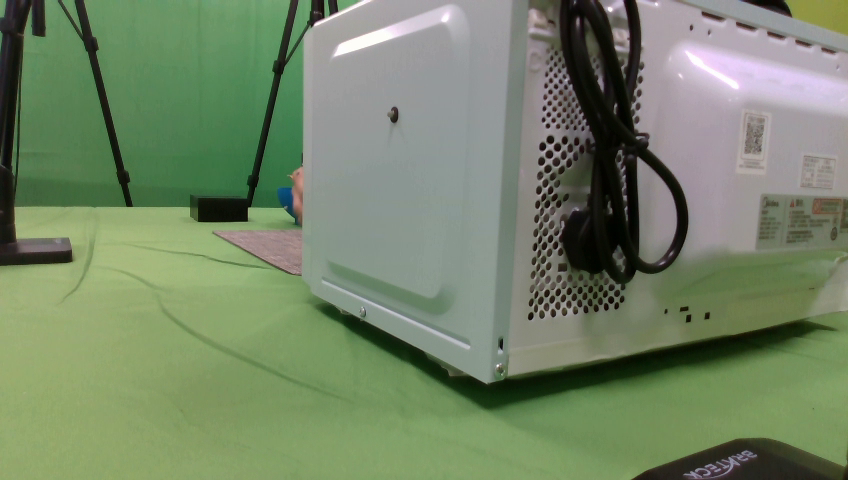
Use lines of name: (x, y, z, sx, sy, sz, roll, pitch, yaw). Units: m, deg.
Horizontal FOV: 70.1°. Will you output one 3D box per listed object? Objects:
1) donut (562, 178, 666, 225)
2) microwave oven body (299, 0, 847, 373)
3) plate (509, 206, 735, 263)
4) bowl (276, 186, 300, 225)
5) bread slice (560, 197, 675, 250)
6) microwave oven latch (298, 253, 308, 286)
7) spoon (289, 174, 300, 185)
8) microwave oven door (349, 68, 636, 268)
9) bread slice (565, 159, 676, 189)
donut: (0.184, -0.037, 0.588, 0.099, 0.048, 0.099, 0, 4, 0)
microwave oven body: (0.152, -0.055, 0.542, 0.444, 0.260, 0.324, -2, 7, -33)
plate: (0.186, -0.007, 0.589, 0.208, 0.039, 0.207, 2, 7, 0)
bowl: (-0.241, -0.073, 1.302, 0.151, 0.077, 0.151, 2, 7, 0)
bread slice: (0.187, -0.016, 0.579, 0.107, 0.018, 0.134, -9, 11, 13)
microwave oven latch: (-0.081, 0.027, 0.582, 0.079, 0.029, 0.030, -1, 7, -32)
spoon: (-0.261, -0.111, 1.343, 0.042, 0.021, 0.192, -9, 34, -30)
microwave oven door: (0.084, -0.093, 0.783, 0.356, 0.243, 0.039, 3, 8, 2)
bread slice: (0.188, -0.063, 0.577, 0.104, 0.019, 0.132, 8, 6, 16)
